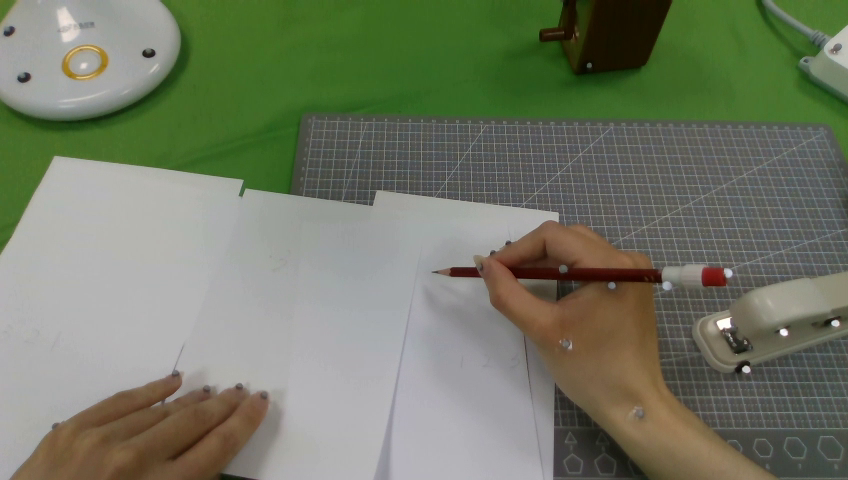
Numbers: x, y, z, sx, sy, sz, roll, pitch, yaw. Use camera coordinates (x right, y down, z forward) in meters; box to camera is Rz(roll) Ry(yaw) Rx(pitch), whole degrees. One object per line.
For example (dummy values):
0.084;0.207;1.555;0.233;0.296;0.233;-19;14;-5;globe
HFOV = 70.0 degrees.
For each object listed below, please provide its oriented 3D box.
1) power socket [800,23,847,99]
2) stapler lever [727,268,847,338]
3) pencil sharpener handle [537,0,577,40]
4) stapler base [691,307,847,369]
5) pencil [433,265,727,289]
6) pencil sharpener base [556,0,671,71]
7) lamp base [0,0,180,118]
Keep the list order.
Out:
0.437;-0.113;0.511;0.072;0.033;0.225;-37;66;-21;power socket
0.250;0.037;0.389;0.118;0.040;0.026;-13;61;-11;stapler lever
0.110;-0.197;0.493;0.031;0.068;0.035;-9;37;-6;pencil sharpener handle
0.248;0.051;0.410;0.131;0.024;0.041;-13;61;-11;stapler base
0.074;0.021;0.352;0.193;0.012;0.012;-4;48;45;pencil
0.159;-0.204;0.514;0.077;0.108;0.061;-9;60;-6;pencil sharpener base
-0.300;-0.216;0.465;0.161;0.182;0.177;-27;61;-17;lamp base
